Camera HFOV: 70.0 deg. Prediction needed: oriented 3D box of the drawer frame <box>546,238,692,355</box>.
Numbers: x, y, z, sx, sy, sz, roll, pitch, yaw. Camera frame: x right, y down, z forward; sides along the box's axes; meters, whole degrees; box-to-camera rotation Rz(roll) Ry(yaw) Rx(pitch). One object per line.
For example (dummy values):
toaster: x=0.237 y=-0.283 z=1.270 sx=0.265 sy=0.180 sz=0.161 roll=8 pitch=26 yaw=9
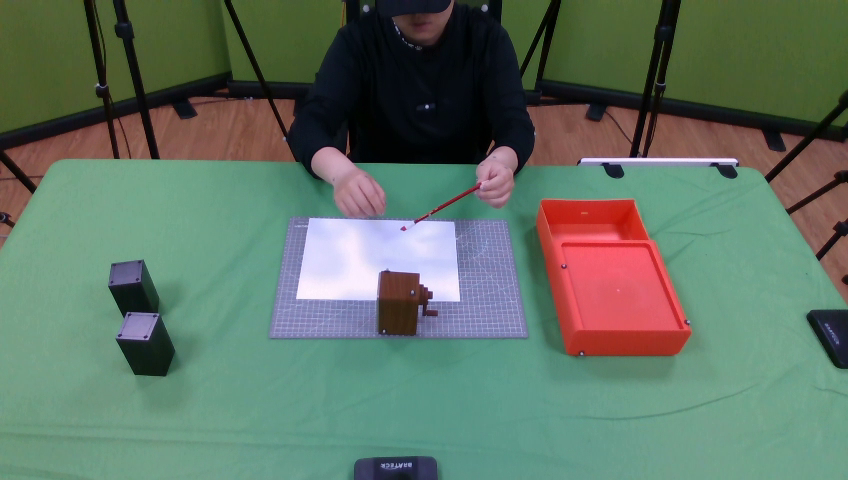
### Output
drawer frame: x=0.338 y=0.097 z=1.086 sx=0.202 sy=0.083 sz=0.212 roll=0 pitch=46 yaw=-4

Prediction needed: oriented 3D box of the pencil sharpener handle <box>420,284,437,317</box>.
pencil sharpener handle: x=0.009 y=0.103 z=1.017 sx=0.030 sy=0.068 sz=0.036 roll=3 pitch=40 yaw=-2

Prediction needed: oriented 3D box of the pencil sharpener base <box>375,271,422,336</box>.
pencil sharpener base: x=-0.043 y=0.109 z=1.025 sx=0.077 sy=0.107 sz=0.061 roll=3 pitch=45 yaw=-2

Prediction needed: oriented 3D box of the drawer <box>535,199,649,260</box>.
drawer: x=0.332 y=0.015 z=1.169 sx=0.195 sy=0.073 sz=0.210 roll=0 pitch=46 yaw=-5

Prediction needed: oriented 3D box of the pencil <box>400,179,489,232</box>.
pencil: x=0.037 y=-0.064 z=1.120 sx=0.194 sy=0.012 sz=0.012 roll=-30 pitch=45 yaw=16
